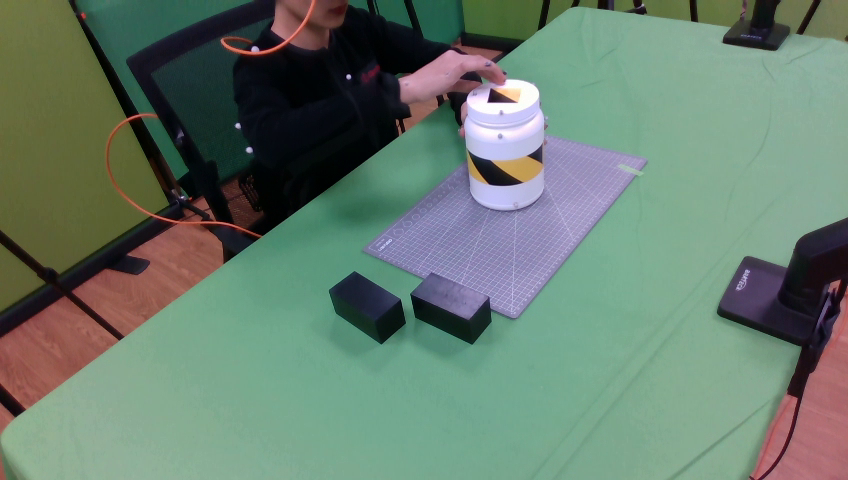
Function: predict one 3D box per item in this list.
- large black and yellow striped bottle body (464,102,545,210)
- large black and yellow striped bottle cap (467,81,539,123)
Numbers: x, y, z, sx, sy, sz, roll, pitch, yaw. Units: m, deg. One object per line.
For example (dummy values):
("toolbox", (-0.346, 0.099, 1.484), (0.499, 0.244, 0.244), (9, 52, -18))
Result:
("large black and yellow striped bottle body", (0.136, -0.157, 1.011), (0.131, 0.185, 0.130), (-5, 40, 5))
("large black and yellow striped bottle cap", (0.125, -0.221, 0.958), (0.115, 0.019, 0.114), (-4, 40, 4))
